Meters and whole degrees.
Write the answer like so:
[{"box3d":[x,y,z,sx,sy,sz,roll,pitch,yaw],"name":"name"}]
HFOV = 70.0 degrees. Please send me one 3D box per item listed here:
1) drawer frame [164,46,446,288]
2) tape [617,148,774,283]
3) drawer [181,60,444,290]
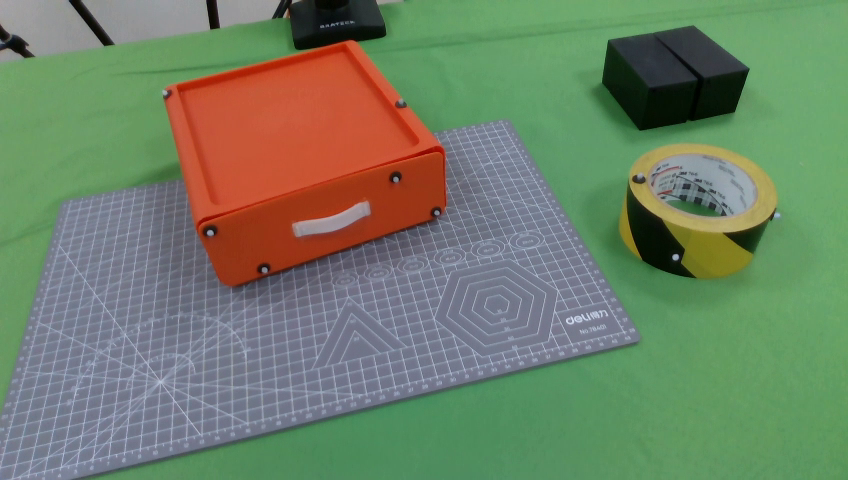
[{"box3d":[-0.114,-0.078,0.553,0.202,0.083,0.211,-20,46,-15],"name":"drawer frame"},{"box3d":[0.219,-0.024,0.497,0.117,0.053,0.115,-2,45,2],"name":"tape"},{"box3d":[-0.112,-0.074,0.551,0.195,0.074,0.209,-20,46,-14],"name":"drawer"}]
